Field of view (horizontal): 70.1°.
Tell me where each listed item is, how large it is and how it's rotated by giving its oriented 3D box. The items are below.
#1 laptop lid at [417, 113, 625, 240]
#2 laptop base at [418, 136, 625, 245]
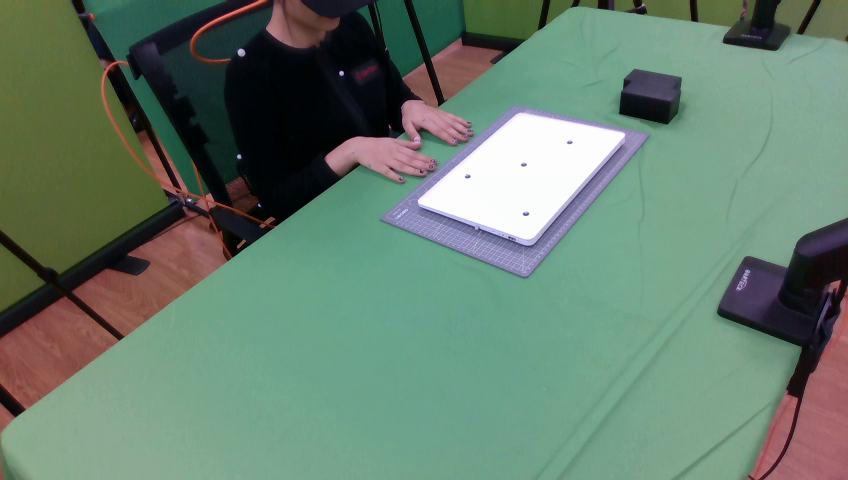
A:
[{"bbox_3d":[0.180,-0.132,1.088,0.239,0.013,0.358,22,49,34],"label":"laptop lid"},{"bbox_3d":[0.183,-0.123,1.094,0.233,0.023,0.355,19,48,34],"label":"laptop base"}]
